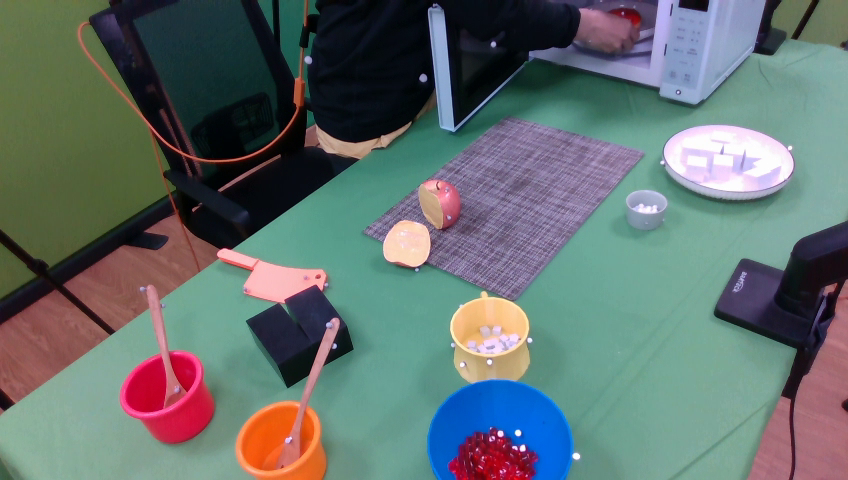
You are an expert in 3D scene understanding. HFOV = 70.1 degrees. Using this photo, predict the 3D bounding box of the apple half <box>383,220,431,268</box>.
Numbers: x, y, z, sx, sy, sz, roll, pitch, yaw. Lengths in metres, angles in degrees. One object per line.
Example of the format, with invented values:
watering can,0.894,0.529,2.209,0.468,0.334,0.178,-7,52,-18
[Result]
apple half,-0.022,0.009,0.947,0.081,0.033,0.081,-3,73,11

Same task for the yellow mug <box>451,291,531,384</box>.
yellow mug,0.085,0.120,0.786,0.100,0.064,0.130,-7,39,1

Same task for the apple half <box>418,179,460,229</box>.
apple half,0.032,-0.062,0.998,0.053,0.075,0.080,-24,39,-23

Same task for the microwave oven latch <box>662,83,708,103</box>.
microwave oven latch,0.518,-0.296,1.204,0.078,0.029,0.030,28,52,36

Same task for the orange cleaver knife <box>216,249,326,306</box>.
orange cleaver knife,-0.248,0.058,0.945,0.210,0.012,0.077,13,50,20

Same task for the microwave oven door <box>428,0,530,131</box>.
microwave oven door,0.126,-0.417,1.249,0.039,0.245,0.356,19,47,28

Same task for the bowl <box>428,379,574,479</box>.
bowl,0.082,0.233,0.644,0.151,0.077,0.150,-4,39,4

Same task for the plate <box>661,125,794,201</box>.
plate,0.514,-0.128,1.035,0.207,0.039,0.206,-4,40,4

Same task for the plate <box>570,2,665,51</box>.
plate,0.436,-0.481,1.375,0.209,0.038,0.208,-2,44,2

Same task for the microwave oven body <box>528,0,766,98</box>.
microwave oven body,0.472,-0.513,1.317,0.438,0.261,0.327,25,51,34

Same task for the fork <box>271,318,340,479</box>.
fork,-0.132,0.186,0.676,0.028,0.019,0.207,17,90,28

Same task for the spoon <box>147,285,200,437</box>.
spoon,-0.318,0.148,0.754,0.042,0.021,0.193,-15,85,-9

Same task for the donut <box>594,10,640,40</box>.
donut,0.428,-0.480,1.342,0.099,0.048,0.098,-8,34,6

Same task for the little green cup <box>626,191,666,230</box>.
little green cup,0.352,-0.046,0.963,0.061,0.039,0.061,-4,40,4
